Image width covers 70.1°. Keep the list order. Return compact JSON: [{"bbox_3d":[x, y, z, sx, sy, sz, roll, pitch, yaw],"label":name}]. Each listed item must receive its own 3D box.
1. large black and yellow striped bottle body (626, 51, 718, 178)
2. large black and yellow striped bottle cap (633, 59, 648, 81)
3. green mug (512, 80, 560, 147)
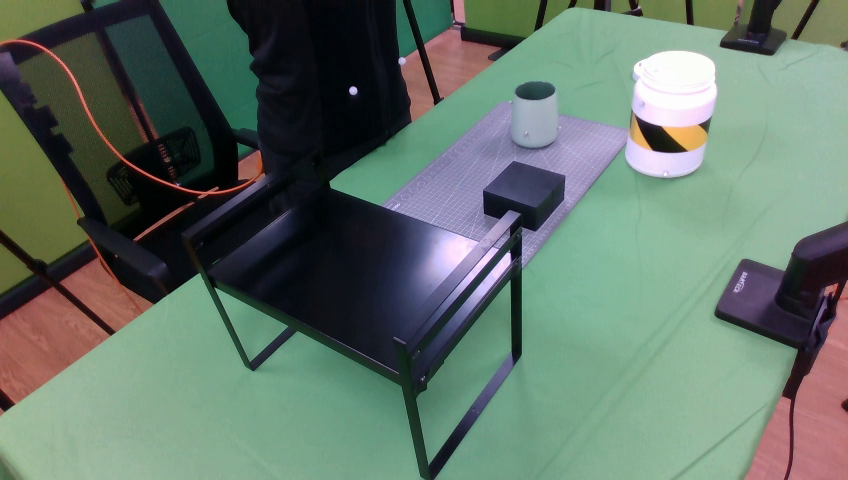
[{"bbox_3d":[0.423,-0.214,1.038,0.131,0.185,0.130,-4,41,4],"label":"large black and yellow striped bottle body"},{"bbox_3d":[0.521,-0.370,1.332,0.115,0.019,0.114,-3,41,3],"label":"large black and yellow striped bottle cap"},{"bbox_3d":[0.217,-0.251,1.169,0.092,0.105,0.125,1,42,12],"label":"green mug"}]
